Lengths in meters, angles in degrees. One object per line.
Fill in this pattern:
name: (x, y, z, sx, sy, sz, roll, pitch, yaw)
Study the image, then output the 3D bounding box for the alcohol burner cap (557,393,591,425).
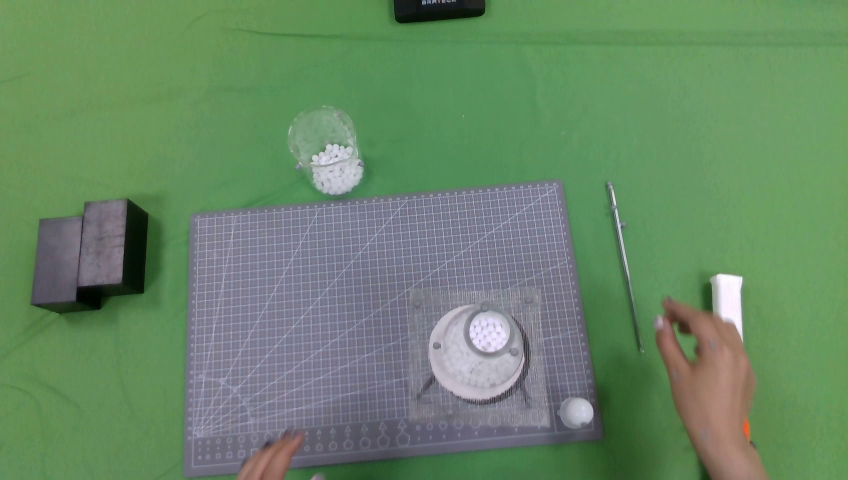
alcohol burner cap: (0.160, 0.177, 0.637, 0.034, 0.048, 0.033, -1, 73, 2)

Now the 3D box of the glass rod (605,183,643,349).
glass rod: (0.230, 0.026, 0.699, 0.008, 0.008, 0.198, -6, 73, 0)

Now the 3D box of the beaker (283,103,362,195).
beaker: (-0.110, -0.099, 0.699, 0.084, 0.101, 0.074, 30, 77, 9)

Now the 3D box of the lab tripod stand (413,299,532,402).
lab tripod stand: (0.051, 0.121, 0.609, 0.148, 0.132, 0.147, 0, 75, 2)

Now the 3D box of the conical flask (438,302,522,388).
conical flask: (0.048, 0.079, 0.490, 0.075, 0.122, 0.075, 0, 75, 2)

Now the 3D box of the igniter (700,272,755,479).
igniter: (0.322, 0.169, 0.646, 0.057, 0.025, 0.275, 8, 73, -7)

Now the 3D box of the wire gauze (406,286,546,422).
wire gauze: (0.046, 0.101, 0.546, 0.125, 0.011, 0.121, 1, 76, 0)

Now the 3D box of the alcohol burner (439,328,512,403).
alcohol burner: (0.052, 0.126, 0.618, 0.078, 0.120, 0.077, -1, 73, 4)
